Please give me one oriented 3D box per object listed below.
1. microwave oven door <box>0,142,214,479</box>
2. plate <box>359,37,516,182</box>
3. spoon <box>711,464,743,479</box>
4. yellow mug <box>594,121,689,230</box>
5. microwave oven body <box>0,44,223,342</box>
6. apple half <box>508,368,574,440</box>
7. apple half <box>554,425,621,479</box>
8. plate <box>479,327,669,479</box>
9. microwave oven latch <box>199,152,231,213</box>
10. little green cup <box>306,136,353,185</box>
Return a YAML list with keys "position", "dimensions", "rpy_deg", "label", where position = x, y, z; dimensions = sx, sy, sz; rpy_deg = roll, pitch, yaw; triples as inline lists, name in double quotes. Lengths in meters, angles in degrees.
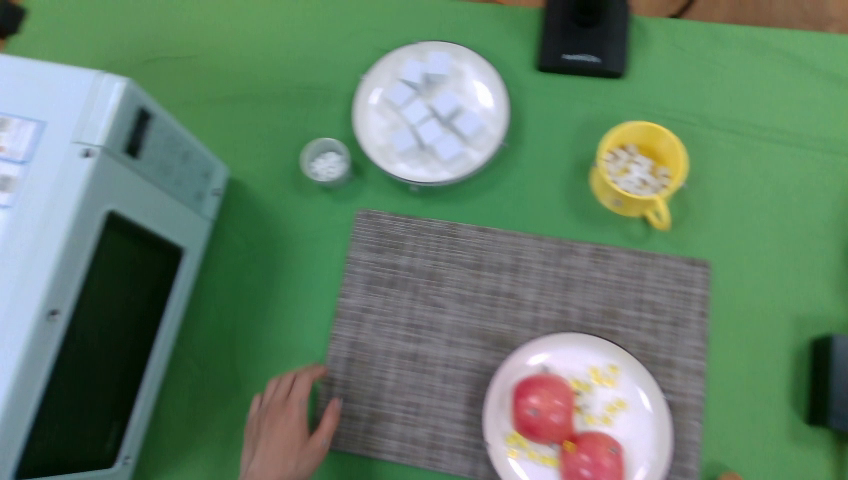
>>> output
- position: [-0.348, 0.103, 0.653]
  dimensions: [0.039, 0.245, 0.354]
  rpy_deg: [12, 77, 10]
  label: "microwave oven door"
- position: [0.018, -0.171, 0.812]
  dimensions: [0.207, 0.039, 0.206]
  rpy_deg: [-2, 75, 6]
  label: "plate"
- position: [0.377, 0.327, 0.649]
  dimensions: [0.041, 0.022, 0.192]
  rpy_deg: [-31, 73, -23]
  label: "spoon"
- position: [0.270, -0.074, 0.745]
  dimensions: [0.100, 0.064, 0.130]
  rpy_deg: [-19, 75, 0]
  label: "yellow mug"
- position: [-0.477, 0.033, 0.690]
  dimensions: [0.325, 0.261, 0.440]
  rpy_deg: [12, 77, 9]
  label: "microwave oven body"
- position: [0.132, 0.184, 0.685]
  dimensions: [0.074, 0.054, 0.080]
  rpy_deg: [6, 77, 11]
  label: "apple half"
- position: [0.183, 0.245, 0.673]
  dimensions: [0.081, 0.033, 0.081]
  rpy_deg: [-2, 71, 5]
  label: "apple half"
- position: [0.168, 0.205, 0.692]
  dimensions: [0.209, 0.038, 0.208]
  rpy_deg: [-1, 76, 6]
  label: "plate"
- position: [-0.281, -0.077, 0.799]
  dimensions: [0.030, 0.029, 0.079]
  rpy_deg: [14, 78, 9]
  label: "microwave oven latch"
- position: [-0.123, -0.104, 0.807]
  dimensions: [0.061, 0.039, 0.061]
  rpy_deg: [-1, 76, 5]
  label: "little green cup"
